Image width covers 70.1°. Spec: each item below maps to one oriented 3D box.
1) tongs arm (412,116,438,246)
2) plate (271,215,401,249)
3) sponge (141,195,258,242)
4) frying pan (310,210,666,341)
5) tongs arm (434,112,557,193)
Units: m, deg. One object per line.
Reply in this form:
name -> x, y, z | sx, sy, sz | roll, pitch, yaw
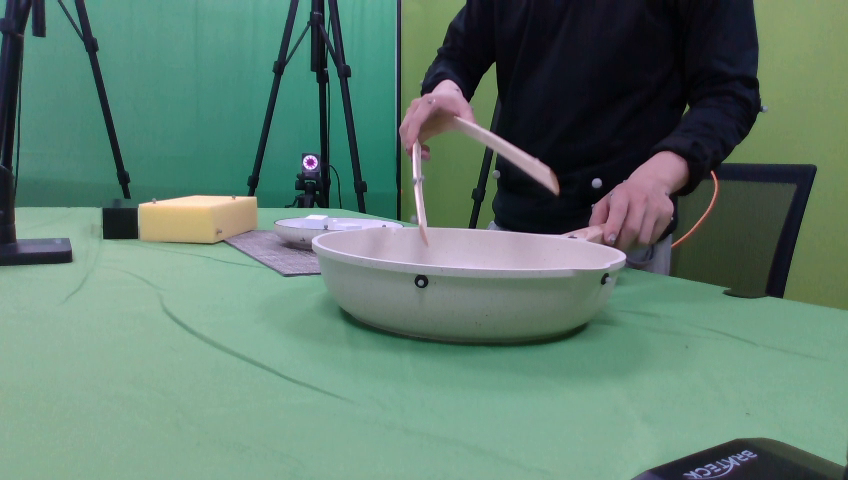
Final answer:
tongs arm -> 0.007, -0.089, 0.735 | 0.051, 0.026, 0.384 | -23, 23, 6
plate -> -0.141, -0.012, 0.978 | 0.208, 0.039, 0.207 | 3, 7, 0
sponge -> -0.380, -0.040, 1.047 | 0.118, 0.061, 0.207 | 1, 8, 3
frying pan -> 0.120, 0.011, 0.643 | 0.490, 0.102, 0.305 | -13, 16, -36
tongs arm -> 0.073, -0.116, 0.732 | 0.028, 0.028, 0.386 | -30, 24, -2
